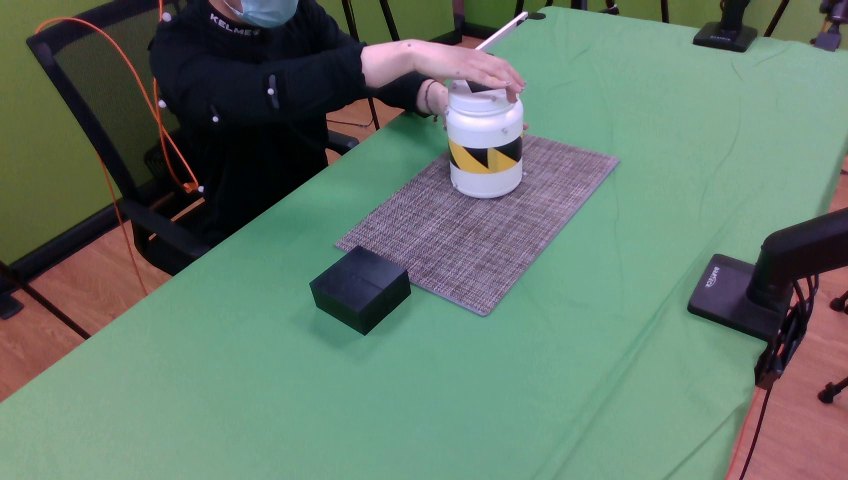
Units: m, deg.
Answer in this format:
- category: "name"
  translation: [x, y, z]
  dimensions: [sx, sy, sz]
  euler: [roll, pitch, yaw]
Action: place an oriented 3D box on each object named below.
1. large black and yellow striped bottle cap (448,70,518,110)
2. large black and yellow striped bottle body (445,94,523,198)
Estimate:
- category: "large black and yellow striped bottle cap"
  translation: [0.095, -0.244, 0.977]
  dimensions: [0.115, 0.019, 0.114]
  euler: [-3, 40, 3]
- category: "large black and yellow striped bottle body"
  translation: [0.104, -0.180, 1.033]
  dimensions: [0.131, 0.185, 0.130]
  euler: [-4, 41, 4]
